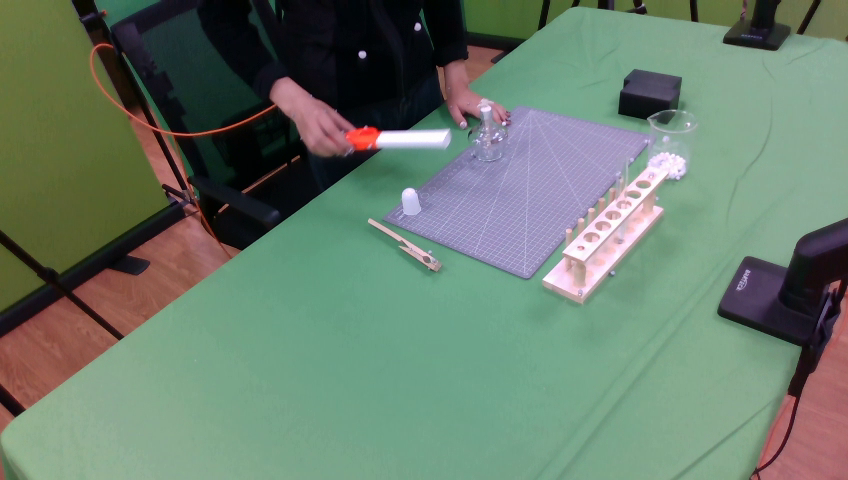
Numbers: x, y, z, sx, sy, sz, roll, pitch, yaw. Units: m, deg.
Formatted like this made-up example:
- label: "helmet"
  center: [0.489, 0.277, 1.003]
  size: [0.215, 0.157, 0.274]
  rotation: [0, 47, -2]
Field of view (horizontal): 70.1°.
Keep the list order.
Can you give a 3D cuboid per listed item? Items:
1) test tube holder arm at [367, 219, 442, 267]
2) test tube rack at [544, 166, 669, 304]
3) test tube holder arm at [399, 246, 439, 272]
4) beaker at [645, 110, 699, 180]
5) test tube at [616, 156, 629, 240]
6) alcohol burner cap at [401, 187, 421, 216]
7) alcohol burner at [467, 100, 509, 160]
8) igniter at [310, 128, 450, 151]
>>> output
- label: "test tube holder arm"
  center: [-0.035, 0.003, 0.985]
  size: [0.177, 0.015, 0.013]
  rotation: [32, 89, 40]
- label: "test tube rack"
  center: [0.274, -0.018, 0.903]
  size: [0.066, 0.085, 0.243]
  rotation: [26, 51, 35]
- label: "test tube holder arm"
  center: [-0.009, 0.027, 0.957]
  size: [0.087, 0.015, 0.010]
  rotation: [34, 91, 40]
- label: "beaker"
  center: [0.417, -0.160, 1.032]
  size: [0.083, 0.101, 0.074]
  rotation: [25, 51, 35]
- label: "test tube"
  center: [0.284, -0.057, 0.869]
  size: [0.017, 0.151, 0.017]
  rotation: [-8, 42, 8]
- label: "alcohol burner cap"
  center: [-0.025, -0.070, 1.048]
  size: [0.034, 0.048, 0.033]
  rotation: [-5, 41, 5]
- label: "alcohol burner"
  center: [0.118, -0.210, 1.131]
  size: [0.078, 0.119, 0.077]
  rotation: [-5, 42, 5]
- label: "igniter"
  center: [-0.085, -0.171, 1.030]
  size: [0.275, 0.025, 0.057]
  rotation: [5, 46, 27]
